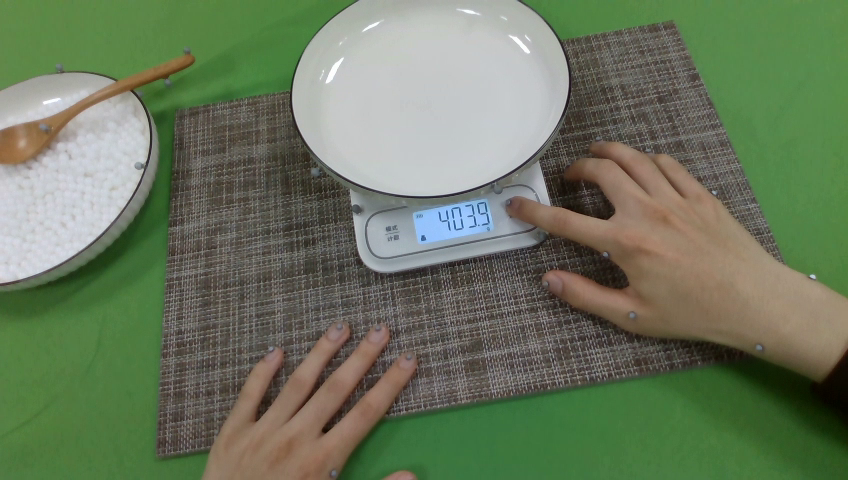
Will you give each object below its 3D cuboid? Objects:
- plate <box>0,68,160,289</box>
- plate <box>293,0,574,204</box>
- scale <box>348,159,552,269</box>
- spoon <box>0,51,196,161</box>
[{"bbox_3d":[-0.319,-0.052,0.504,0.209,0.038,0.207,-2,64,4],"label":"plate"},{"bbox_3d":[0.007,-0.114,0.462,0.207,0.039,0.206,-2,63,4],"label":"plate"},{"bbox_3d":[0.010,-0.080,0.482,0.149,0.032,0.199,-11,63,1],"label":"scale"},{"bbox_3d":[-0.284,-0.117,0.515,0.194,0.022,0.041,-27,63,1],"label":"spoon"}]
